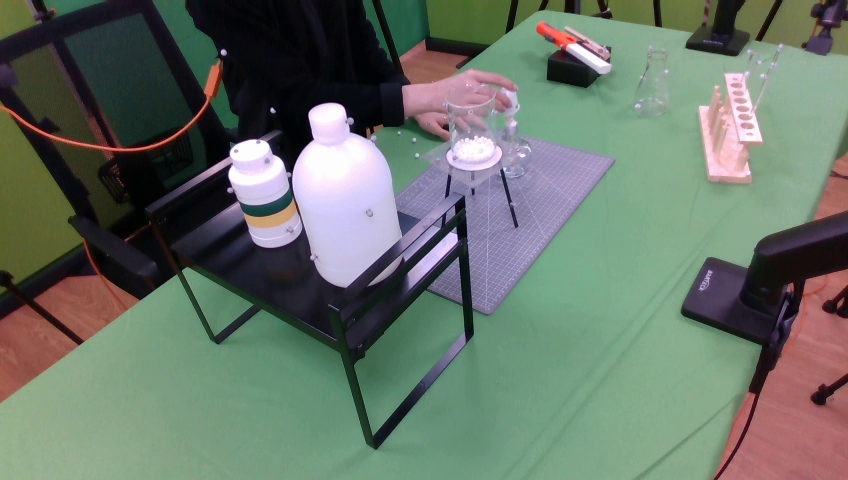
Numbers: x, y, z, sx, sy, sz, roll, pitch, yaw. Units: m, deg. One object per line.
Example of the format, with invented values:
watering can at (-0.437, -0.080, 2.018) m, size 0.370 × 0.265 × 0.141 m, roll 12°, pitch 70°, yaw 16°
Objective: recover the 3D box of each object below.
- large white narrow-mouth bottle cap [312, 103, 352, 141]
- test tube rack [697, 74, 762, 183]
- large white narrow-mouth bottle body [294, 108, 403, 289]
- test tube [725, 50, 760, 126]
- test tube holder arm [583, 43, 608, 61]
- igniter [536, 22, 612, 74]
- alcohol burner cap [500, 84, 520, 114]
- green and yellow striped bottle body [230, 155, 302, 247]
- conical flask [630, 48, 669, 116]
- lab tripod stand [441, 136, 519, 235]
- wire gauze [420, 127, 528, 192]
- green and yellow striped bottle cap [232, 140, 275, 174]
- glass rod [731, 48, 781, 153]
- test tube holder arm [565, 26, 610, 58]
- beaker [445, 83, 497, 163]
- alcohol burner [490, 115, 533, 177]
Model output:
large white narrow-mouth bottle cap at (-0.088, -0.113, 0.579) m, size 0.038 × 0.024 × 0.037 m, roll -3°, pitch 39°, yaw 3°
test tube rack at (0.547, -0.208, 1.095) m, size 0.066 × 0.085 × 0.242 m, roll 5°, pitch 42°, yaw 15°
large white narrow-mouth bottle body at (-0.082, -0.047, 0.634) m, size 0.102 × 0.195 × 0.101 m, roll -4°, pitch 40°, yaw 3°
test tube at (0.570, -0.269, 1.086) m, size 0.017 × 0.151 × 0.017 m, roll -1°, pitch 45°, yaw 2°
test tube holder arm at (0.379, -0.420, 1.341) m, size 0.010 × 0.015 × 0.087 m, roll -39°, pitch 41°, yaw 10°
igniter at (0.330, -0.439, 1.366) m, size 0.057 × 0.025 × 0.274 m, roll -11°, pitch 41°, yaw -19°
alcohol burner cap at (0.144, -0.240, 1.018) m, size 0.034 × 0.048 × 0.033 m, roll -7°, pitch 52°, yaw 10°
green and yellow striped bottle body at (-0.188, -0.055, 0.714) m, size 0.063 × 0.120 × 0.063 m, roll -4°, pitch 41°, yaw 4°
conical flask at (0.456, -0.317, 1.205) m, size 0.075 × 0.122 × 0.075 m, roll -4°, pitch 41°, yaw 4°
lab tripod stand at (0.083, -0.086, 0.976) m, size 0.148 × 0.132 × 0.147 m, roll -4°, pitch 43°, yaw 4°
wire gauze at (0.076, -0.131, 0.927) m, size 0.122 × 0.011 × 0.124 m, roll -34°, pitch 49°, yaw -25°
green and yellow striped bottle cap at (-0.192, -0.094, 0.680) m, size 0.045 × 0.020 × 0.045 m, roll -5°, pitch 39°, yaw 5°
glass rod at (0.554, -0.228, 1.014) m, size 0.008 × 0.200 × 0.008 m, roll 1°, pitch 44°, yaw -1°
test tube holder arm at (0.369, -0.450, 1.373) m, size 0.013 × 0.015 × 0.177 m, roll -39°, pitch 41°, yaw 10°
beaker at (0.073, -0.175, 0.904) m, size 0.074 × 0.101 × 0.084 m, roll 3°, pitch 41°, yaw 13°
alcohol burner at (0.157, -0.173, 1.083) m, size 0.078 × 0.119 × 0.077 m, roll -4°, pitch 43°, yaw 4°
